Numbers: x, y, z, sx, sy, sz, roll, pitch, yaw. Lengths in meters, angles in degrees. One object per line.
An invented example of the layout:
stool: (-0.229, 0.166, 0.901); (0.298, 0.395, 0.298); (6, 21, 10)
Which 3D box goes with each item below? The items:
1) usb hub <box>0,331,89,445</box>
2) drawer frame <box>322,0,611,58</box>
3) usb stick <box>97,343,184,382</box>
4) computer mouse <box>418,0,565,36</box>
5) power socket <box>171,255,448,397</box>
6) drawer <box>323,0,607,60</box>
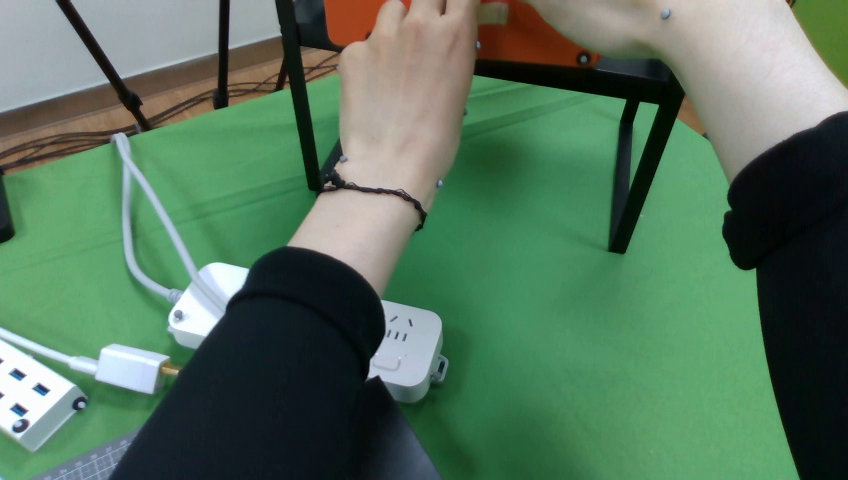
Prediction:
usb hub: (-0.316, 0.100, 0.450); (0.124, 0.025, 0.049); (22, 51, 18)
drawer frame: (0.038, -0.240, 0.483); (0.201, 0.083, 0.211); (5, 48, 3)
usb stick: (-0.212, 0.093, 0.458); (0.059, 0.021, 0.027); (7, 91, -14)
computer mouse: (0.050, -0.194, 0.460); (0.116, 0.041, 0.062); (28, 60, 35)
power socket: (-0.092, 0.066, 0.482); (0.226, 0.033, 0.071); (12, 49, 10)
drawer: (0.037, -0.234, 0.479); (0.194, 0.074, 0.210); (6, 48, 4)
